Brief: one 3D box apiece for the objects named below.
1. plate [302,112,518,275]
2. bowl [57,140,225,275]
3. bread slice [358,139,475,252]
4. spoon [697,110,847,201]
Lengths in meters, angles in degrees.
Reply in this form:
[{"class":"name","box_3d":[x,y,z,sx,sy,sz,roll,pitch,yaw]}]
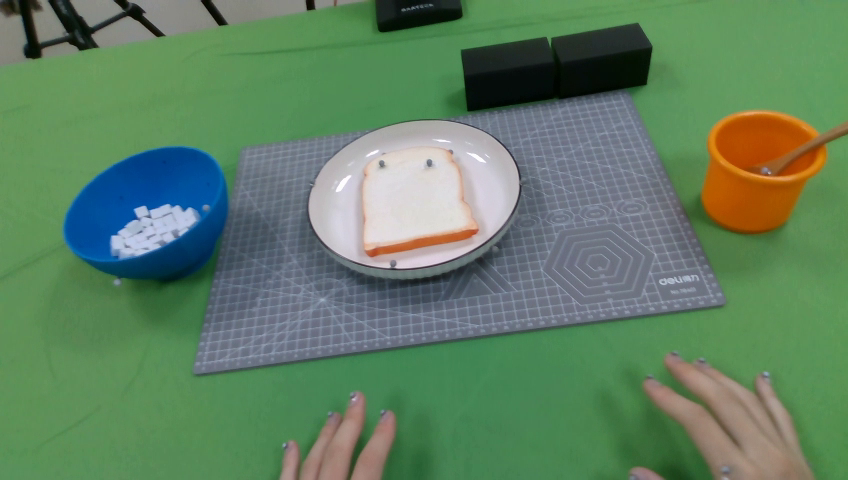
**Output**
[{"class":"plate","box_3d":[-0.013,-0.046,0.592,0.209,0.038,0.207,-5,50,6]},{"class":"bowl","box_3d":[-0.258,-0.019,0.588,0.151,0.077,0.150,-5,50,6]},{"class":"bread slice","box_3d":[-0.016,-0.048,0.598,0.107,0.018,0.133,-14,51,-1]},{"class":"spoon","box_3d":[0.318,-0.082,0.497,0.022,0.194,0.041,30,50,-23]}]
